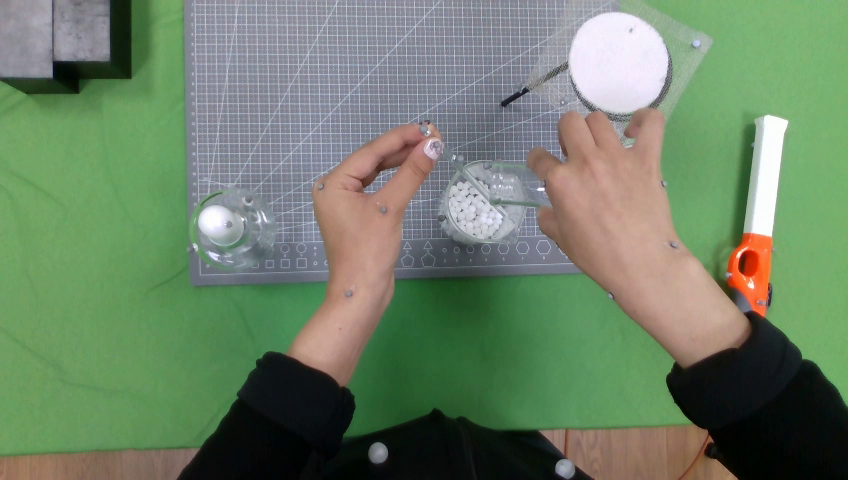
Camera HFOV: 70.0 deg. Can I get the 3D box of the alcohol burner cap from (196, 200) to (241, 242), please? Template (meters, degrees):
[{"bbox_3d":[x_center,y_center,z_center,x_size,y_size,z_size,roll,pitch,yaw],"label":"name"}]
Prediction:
[{"bbox_3d":[-0.176,-0.018,0.514,0.034,0.048,0.033,1,81,-7],"label":"alcohol burner cap"}]

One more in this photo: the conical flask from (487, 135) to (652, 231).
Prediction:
[{"bbox_3d":[0.112,-0.048,0.482,0.122,0.075,0.075,3,87,5],"label":"conical flask"}]

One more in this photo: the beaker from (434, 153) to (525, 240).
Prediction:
[{"bbox_3d":[0.050,-0.035,0.580,0.074,0.100,0.084,-37,92,-5],"label":"beaker"}]

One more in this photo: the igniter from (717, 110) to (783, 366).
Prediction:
[{"bbox_3d":[0.349,-0.001,0.648,0.057,0.025,0.276,10,87,-16],"label":"igniter"}]

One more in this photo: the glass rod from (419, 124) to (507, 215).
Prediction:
[{"bbox_3d":[0.039,-0.052,0.504,0.008,0.201,0.008,-7,72,23],"label":"glass rod"}]

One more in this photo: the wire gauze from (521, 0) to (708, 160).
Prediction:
[{"bbox_3d":[0.160,-0.151,0.510,0.125,0.011,0.121,31,88,-3],"label":"wire gauze"}]

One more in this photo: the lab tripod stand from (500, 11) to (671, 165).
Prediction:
[{"bbox_3d":[0.157,-0.146,0.577,0.148,0.131,0.148,0,89,-4],"label":"lab tripod stand"}]

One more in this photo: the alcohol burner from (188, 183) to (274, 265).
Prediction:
[{"bbox_3d":[-0.179,-0.015,0.550,0.078,0.119,0.078,0,89,-4],"label":"alcohol burner"}]
